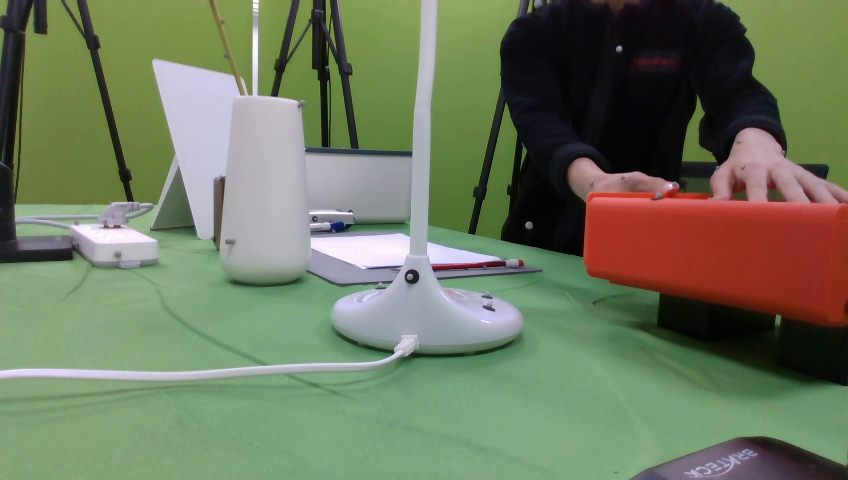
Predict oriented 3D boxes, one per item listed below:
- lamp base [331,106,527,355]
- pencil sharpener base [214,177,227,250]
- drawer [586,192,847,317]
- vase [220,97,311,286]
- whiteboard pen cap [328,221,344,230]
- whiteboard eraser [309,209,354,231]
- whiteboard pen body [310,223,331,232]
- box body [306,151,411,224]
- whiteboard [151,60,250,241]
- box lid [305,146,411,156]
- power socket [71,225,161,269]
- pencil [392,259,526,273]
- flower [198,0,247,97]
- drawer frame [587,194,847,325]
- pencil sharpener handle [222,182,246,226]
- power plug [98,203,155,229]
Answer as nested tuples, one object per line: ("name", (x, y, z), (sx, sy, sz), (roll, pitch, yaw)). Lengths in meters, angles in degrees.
("lamp base", (0.006, -0.012, 0.478), (0.161, 0.180, 0.179), (2, 10, 2))
("pencil sharpener base", (-0.265, -0.036, 0.870), (0.061, 0.107, 0.076), (-2, 8, -29))
("drawer", (0.282, 0.003, 0.513), (0.195, 0.073, 0.210), (-1, 9, -29))
("vase", (-0.172, -0.052, 0.662), (0.098, 0.200, 0.098), (3, 8, 0))
("whiteboard pen cap", (-0.166, -0.027, 1.124), (0.018, 0.018, 0.033), (9, 10, 41))
("whiteboard eraser", (-0.196, -0.038, 1.167), (0.113, 0.042, 0.055), (-2, 7, -33))
("whiteboard pen body", (-0.207, -0.021, 1.081), (0.017, 0.017, 0.141), (9, 10, 41))
("box body", (-0.230, -0.126, 1.371), (0.366, 0.160, 0.253), (-2, 8, -33))
("whiteboard", (-0.408, -0.139, 1.093), (0.143, 0.305, 0.218), (-15, 0, 26))
("box lid", (-0.229, -0.200, 1.360), (0.373, 0.015, 0.262), (-3, 9, -33))
("power socket", (-0.408, 0.004, 0.793), (0.072, 0.032, 0.225), (-2, 8, -38))
("pencil", (0.049, 0.035, 0.782), (0.195, 0.012, 0.012), (-3, 9, -25))
("flower", (-0.187, -0.133, 0.648), (0.038, 0.362, 0.044), (-1, 22, 43))
("drawer frame", (0.286, 0.004, 0.508), (0.203, 0.082, 0.212), (-1, 6, -29))
("pencil sharpener handle", (-0.289, -0.055, 0.912), (0.036, 0.067, 0.030), (-3, 9, -29))
("power plug", (-0.416, -0.026, 0.848), (0.073, 0.052, 0.035), (1, 8, -28))
